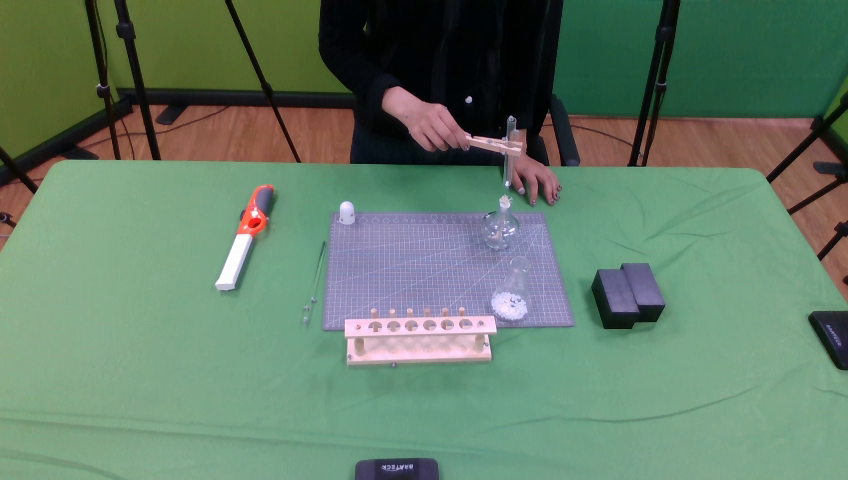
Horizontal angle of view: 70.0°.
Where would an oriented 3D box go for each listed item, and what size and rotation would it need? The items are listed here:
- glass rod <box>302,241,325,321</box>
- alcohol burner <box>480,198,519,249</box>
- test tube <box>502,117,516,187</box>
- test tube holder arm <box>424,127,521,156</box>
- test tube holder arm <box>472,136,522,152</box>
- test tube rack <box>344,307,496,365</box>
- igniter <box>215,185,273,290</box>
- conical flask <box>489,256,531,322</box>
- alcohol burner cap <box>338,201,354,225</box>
[{"bbox_3d":[-0.203,0.072,1.124,0.008,0.008,0.198,4,43,1],"label":"glass rod"},{"bbox_3d":[0.150,-0.038,1.182,0.078,0.119,0.077,3,47,-3],"label":"alcohol burner"},{"bbox_3d":[0.149,-0.151,1.064,0.017,0.151,0.017,-2,48,2],"label":"test tube"},{"bbox_3d":[0.083,-0.174,1.068,0.178,0.015,0.013,14,46,14],"label":"test tube holder arm"},{"bbox_3d":[0.127,-0.168,1.062,0.088,0.015,0.010,9,46,9],"label":"test tube holder arm"},{"bbox_3d":[-0.009,0.154,1.007,0.242,0.085,0.066,-1,46,-5],"label":"test tube rack"},{"bbox_3d":[-0.347,-0.014,1.182,0.057,0.025,0.275,-1,45,8],"label":"igniter"},{"bbox_3d":[0.158,0.081,1.061,0.075,0.122,0.075,2,46,-2],"label":"conical flask"},{"bbox_3d":[-0.159,-0.056,1.224,0.034,0.048,0.033,2,46,-2],"label":"alcohol burner cap"}]
